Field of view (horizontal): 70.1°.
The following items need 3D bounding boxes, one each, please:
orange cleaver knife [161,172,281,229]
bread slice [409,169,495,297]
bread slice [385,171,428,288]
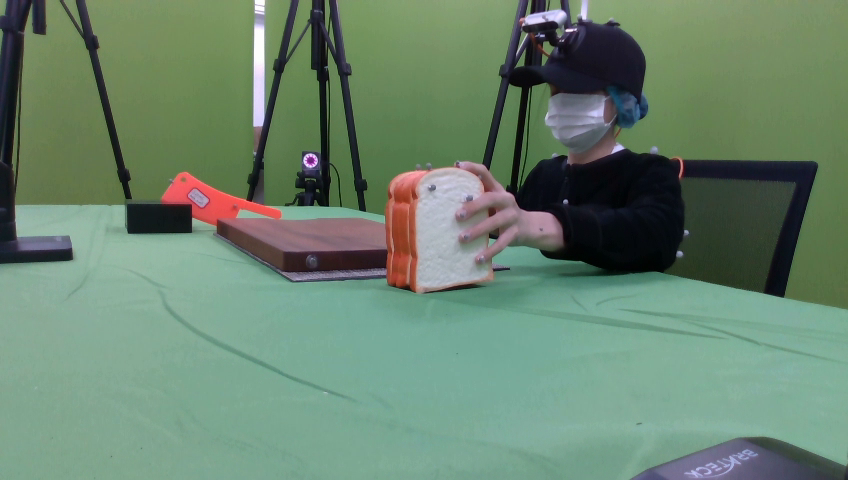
[{"bbox_3d":[-0.372,-0.061,1.121,0.212,0.077,0.012,20,-6,-29],"label":"orange cleaver knife"},{"bbox_3d":[0.027,-0.010,0.659,0.107,0.134,0.018,-11,8,-35],"label":"bread slice"},{"bbox_3d":[0.002,-0.014,0.703,0.105,0.131,0.019,-3,2,-31],"label":"bread slice"}]
